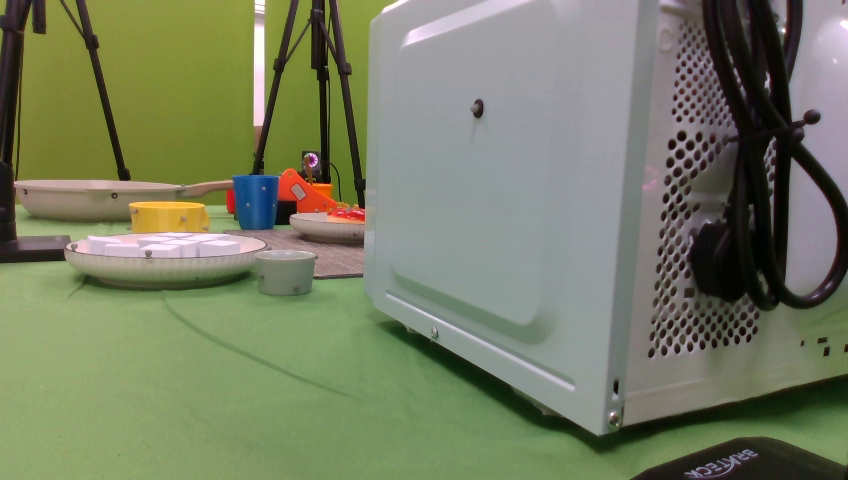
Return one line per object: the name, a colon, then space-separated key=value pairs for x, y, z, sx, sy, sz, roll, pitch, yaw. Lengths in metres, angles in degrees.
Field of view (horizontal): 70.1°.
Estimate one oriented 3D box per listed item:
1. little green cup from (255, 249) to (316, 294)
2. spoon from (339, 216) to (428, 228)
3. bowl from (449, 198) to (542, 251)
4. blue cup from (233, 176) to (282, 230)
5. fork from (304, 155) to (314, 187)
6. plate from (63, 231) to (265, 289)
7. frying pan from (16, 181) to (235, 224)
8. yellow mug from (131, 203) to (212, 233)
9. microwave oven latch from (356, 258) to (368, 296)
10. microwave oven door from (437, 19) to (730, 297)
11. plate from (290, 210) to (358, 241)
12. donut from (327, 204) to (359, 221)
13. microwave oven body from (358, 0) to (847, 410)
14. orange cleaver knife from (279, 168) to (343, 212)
little green cup: x=-0.144 y=0.032 z=0.627 sx=0.061 sy=0.038 sz=0.061 roll=4 pitch=7 yaw=0
spoon: x=-0.087 y=-0.041 z=1.268 sx=0.193 sy=0.021 sz=0.041 roll=4 pitch=25 yaw=13
bowl: x=0.114 y=-0.026 z=0.988 sx=0.151 sy=0.077 sz=0.151 roll=2 pitch=8 yaw=0
blue cup: x=-0.314 y=-0.071 z=1.141 sx=0.093 sy=0.100 sz=0.092 roll=0 pitch=7 yaw=0
fork: x=-0.268 y=-0.134 z=1.447 sx=0.028 sy=0.018 sz=0.207 roll=2 pitch=-36 yaw=-1
plate: x=-0.288 y=0.021 z=0.687 sx=0.208 sy=0.039 sz=0.207 roll=2 pitch=8 yaw=0
frying pan: x=-0.553 y=-0.097 z=1.266 sx=0.490 sy=0.102 sz=0.305 roll=-10 pitch=13 yaw=-24
yellow mug: x=-0.356 y=-0.020 z=0.878 sx=0.099 sy=0.064 sz=0.131 roll=5 pitch=7 yaw=22
microwave oven latch: x=-0.019 y=0.031 z=0.528 sx=0.079 sy=0.029 sz=0.030 roll=-1 pitch=7 yaw=-25
microwave oven door: x=0.181 y=-0.076 z=0.618 sx=0.358 sy=0.243 sz=0.039 roll=-2 pitch=9 yaw=-28
plate: x=-0.127 y=-0.025 z=1.051 sx=0.209 sy=0.038 sz=0.209 roll=2 pitch=7 yaw=0
donut: x=-0.120 y=-0.037 z=1.056 sx=0.099 sy=0.048 sz=0.099 roll=5 pitch=7 yaw=0
microwave oven body: x=0.210 y=-0.051 z=0.471 sx=0.444 sy=0.260 sz=0.324 roll=-1 pitch=7 yaw=-28
orange cleaver knife: x=-0.236 y=-0.084 z=1.333 sx=0.212 sy=0.077 sz=0.012 roll=31 pitch=-10 yaw=-32
